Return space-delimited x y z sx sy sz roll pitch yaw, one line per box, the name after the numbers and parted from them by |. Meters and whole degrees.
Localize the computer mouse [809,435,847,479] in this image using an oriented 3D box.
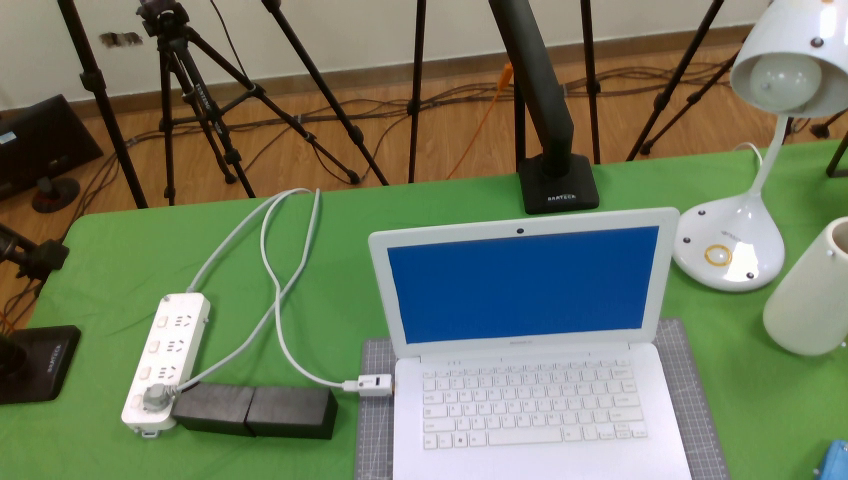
0.472 0.272 0.677 0.062 0.041 0.117 31 57 31 | computer mouse

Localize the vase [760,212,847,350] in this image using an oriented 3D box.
0.488 0.053 0.742 0.098 0.202 0.097 -5 51 6 | vase

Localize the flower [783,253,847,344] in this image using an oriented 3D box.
0.494 -0.005 0.681 0.038 0.364 0.043 -5 41 -18 | flower

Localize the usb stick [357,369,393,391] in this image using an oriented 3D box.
-0.058 0.188 0.811 0.059 0.027 0.021 0 50 2 | usb stick

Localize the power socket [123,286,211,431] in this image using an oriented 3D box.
-0.369 0.163 0.881 0.072 0.033 0.224 -2 52 5 | power socket

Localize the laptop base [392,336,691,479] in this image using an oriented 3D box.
0.135 0.239 0.762 0.354 0.023 0.233 -5 55 4 | laptop base

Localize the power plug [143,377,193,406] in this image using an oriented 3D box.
-0.344 0.209 0.817 0.072 0.053 0.035 7 54 10 | power plug

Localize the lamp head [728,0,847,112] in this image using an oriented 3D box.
0.370 -0.199 0.584 0.111 0.113 0.122 21 76 22 | lamp head

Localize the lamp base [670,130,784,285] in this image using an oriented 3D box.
0.443 -0.056 0.845 0.159 0.182 0.178 24 57 24 | lamp base

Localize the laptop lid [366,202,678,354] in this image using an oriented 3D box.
0.120 0.058 0.754 0.356 0.244 0.013 -6 42 5 | laptop lid
